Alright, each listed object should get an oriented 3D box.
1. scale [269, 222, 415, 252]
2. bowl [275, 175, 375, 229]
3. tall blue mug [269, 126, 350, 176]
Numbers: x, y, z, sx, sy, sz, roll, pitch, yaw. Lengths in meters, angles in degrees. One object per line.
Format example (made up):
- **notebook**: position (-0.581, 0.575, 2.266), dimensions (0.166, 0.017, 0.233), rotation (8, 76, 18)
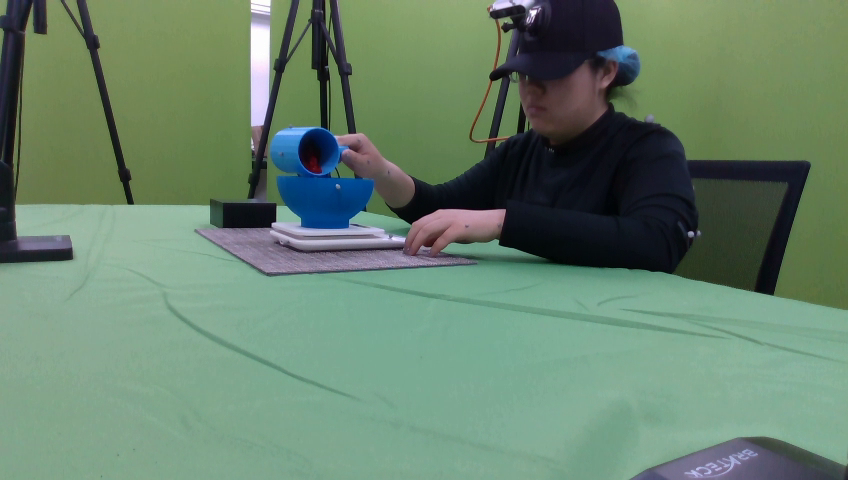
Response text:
- **scale**: position (-0.130, -0.008, 0.958), dimensions (0.202, 0.031, 0.148), rotation (-1, 9, -32)
- **bowl**: position (-0.152, -0.059, 0.932), dimensions (0.151, 0.077, 0.151), rotation (2, 6, 0)
- **tall blue mug**: position (-0.187, -0.155, 1.004), dimensions (0.107, 0.078, 0.107), rotation (-39, 28, -27)
